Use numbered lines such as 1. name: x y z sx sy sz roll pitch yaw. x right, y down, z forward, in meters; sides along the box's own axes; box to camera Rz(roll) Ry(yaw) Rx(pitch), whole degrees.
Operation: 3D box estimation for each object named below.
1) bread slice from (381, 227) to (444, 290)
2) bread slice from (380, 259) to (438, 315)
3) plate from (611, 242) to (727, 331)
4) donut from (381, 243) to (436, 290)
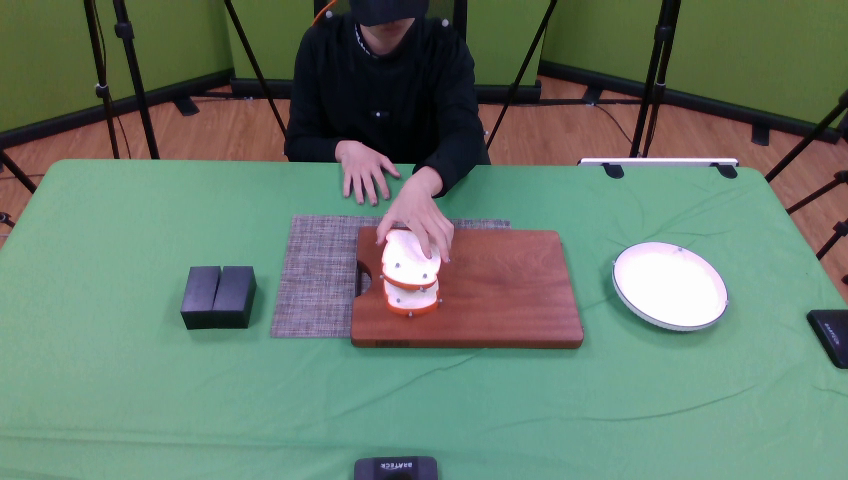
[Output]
1. bread slice: -0.020 0.032 1.050 0.107 0.018 0.133 6 44 -2
2. bread slice: -0.024 0.079 1.087 0.105 0.019 0.130 -3 45 -6
3. plate: 0.455 0.090 1.138 0.209 0.038 0.208 3 45 -2
4. donut: -0.027 0.047 1.077 0.099 0.048 0.098 2 44 -2
